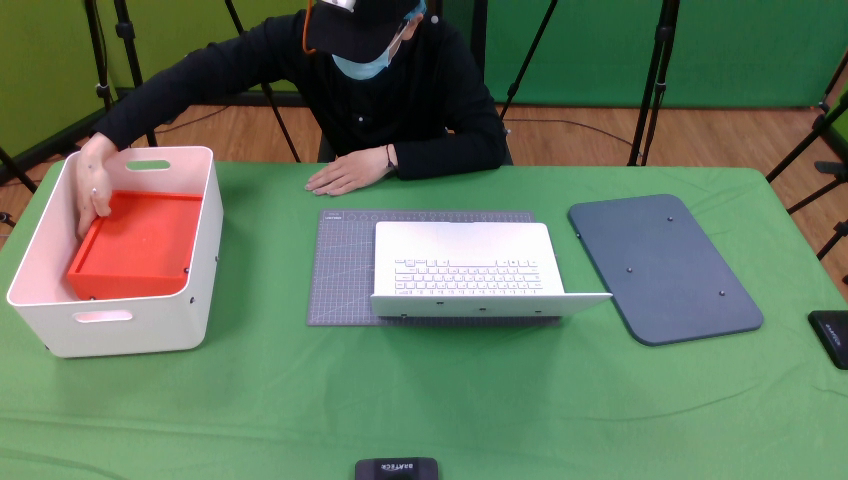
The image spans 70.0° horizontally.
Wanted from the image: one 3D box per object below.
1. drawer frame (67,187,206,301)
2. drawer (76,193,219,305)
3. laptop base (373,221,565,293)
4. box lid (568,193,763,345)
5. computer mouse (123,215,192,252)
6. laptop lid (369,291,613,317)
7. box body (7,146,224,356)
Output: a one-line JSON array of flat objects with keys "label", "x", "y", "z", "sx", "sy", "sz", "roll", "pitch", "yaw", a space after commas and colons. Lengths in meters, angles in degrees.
[{"label": "drawer frame", "x": -0.494, "y": 0.007, "z": 1.100, "sx": 0.202, "sy": 0.083, "sz": 0.212, "roll": 3, "pitch": 47, "yaw": -5}, {"label": "drawer", "x": -0.497, "y": 0.013, "z": 1.112, "sx": 0.195, "sy": 0.073, "sz": 0.210, "roll": 1, "pitch": 53, "yaw": -5}, {"label": "laptop base", "x": 0.080, "y": 0.049, "z": 1.159, "sx": 0.355, "sy": 0.023, "sz": 0.234, "roll": 0, "pitch": 43, "yaw": -4}, {"label": "box lid", "x": 0.465, "y": 0.040, "z": 1.203, "sx": 0.264, "sy": 0.015, "sz": 0.369, "roll": -7, "pitch": 47, "yaw": -11}, {"label": "computer mouse", "x": -0.505, "y": -0.014, "z": 1.149, "sx": 0.117, "sy": 0.041, "sz": 0.062, "roll": 12, "pitch": 42, "yaw": -3}, {"label": "laptop lid", "x": 0.092, "y": 0.104, "z": 0.965, "sx": 0.357, "sy": 0.242, "sz": 0.013, "roll": 0, "pitch": 76, "yaw": -5}, {"label": "box body", "x": -0.498, "y": 0.012, "z": 1.051, "sx": 0.254, "sy": 0.161, "sz": 0.361, "roll": -3, "pitch": 47, "yaw": -7}]
